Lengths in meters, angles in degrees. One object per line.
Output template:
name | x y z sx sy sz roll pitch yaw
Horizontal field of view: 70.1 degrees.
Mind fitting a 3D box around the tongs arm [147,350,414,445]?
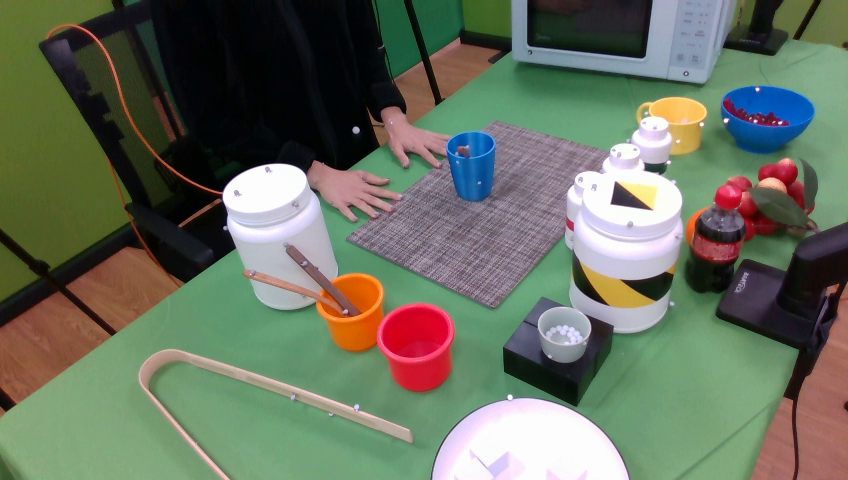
tongs arm | -0.193 0.200 0.757 0.382 0.026 0.051 14 49 24

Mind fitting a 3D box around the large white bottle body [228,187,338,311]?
large white bottle body | -0.207 -0.002 0.884 0.130 0.185 0.130 -4 40 4

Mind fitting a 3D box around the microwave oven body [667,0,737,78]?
microwave oven body | 0.462 -0.552 1.369 0.439 0.261 0.326 15 46 26

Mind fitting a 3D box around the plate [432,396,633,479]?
plate | 0.112 0.261 0.634 0.209 0.038 0.208 -5 40 4

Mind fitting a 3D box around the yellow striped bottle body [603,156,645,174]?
yellow striped bottle body | 0.313 -0.089 0.956 0.063 0.121 0.062 -4 40 4

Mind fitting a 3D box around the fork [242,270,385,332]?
fork | -0.142 0.082 0.802 0.209 0.018 0.028 28 38 -26

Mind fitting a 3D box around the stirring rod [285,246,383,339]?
stirring rod | -0.121 0.071 0.819 0.176 0.006 0.014 44 52 -6

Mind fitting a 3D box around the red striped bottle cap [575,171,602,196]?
red striped bottle cap | 0.242 -0.081 0.876 0.044 0.018 0.044 -5 44 5

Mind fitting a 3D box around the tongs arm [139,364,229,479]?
tongs arm | -0.241 0.254 0.707 0.384 0.028 0.028 27 59 34

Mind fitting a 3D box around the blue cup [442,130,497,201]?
blue cup | 0.084 -0.123 1.041 0.092 0.100 0.092 -4 43 4

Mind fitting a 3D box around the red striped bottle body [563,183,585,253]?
red striped bottle body | 0.246 -0.041 0.910 0.063 0.120 0.062 -2 38 2

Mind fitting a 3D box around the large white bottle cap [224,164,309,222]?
large white bottle cap | -0.216 -0.066 0.830 0.115 0.018 0.114 -4 40 4

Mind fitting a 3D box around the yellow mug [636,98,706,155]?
yellow mug | 0.453 -0.218 1.128 0.100 0.064 0.129 -34 46 -27

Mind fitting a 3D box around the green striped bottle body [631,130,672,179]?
green striped bottle body | 0.375 -0.140 1.007 0.063 0.120 0.063 -5 40 5

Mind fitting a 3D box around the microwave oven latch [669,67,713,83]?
microwave oven latch | 0.556 -0.348 1.262 0.078 0.029 0.030 15 46 26

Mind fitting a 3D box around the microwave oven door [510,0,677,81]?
microwave oven door | 0.354 -0.478 1.290 0.353 0.245 0.039 15 45 25

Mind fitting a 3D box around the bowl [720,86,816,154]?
bowl | 0.605 -0.206 1.081 0.151 0.077 0.150 -5 40 5

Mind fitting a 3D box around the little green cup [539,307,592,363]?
little green cup | 0.168 0.114 0.721 0.061 0.039 0.061 -4 43 4

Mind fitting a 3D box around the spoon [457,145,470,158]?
spoon | 0.068 -0.135 0.972 0.041 0.021 0.194 4 -2 10

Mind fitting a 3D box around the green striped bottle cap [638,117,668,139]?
green striped bottle cap | 0.369 -0.180 0.974 0.044 0.020 0.044 -4 41 4

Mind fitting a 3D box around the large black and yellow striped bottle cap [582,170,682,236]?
large black and yellow striped bottle cap | 0.252 -0.048 0.735 0.115 0.019 0.114 -3 40 3

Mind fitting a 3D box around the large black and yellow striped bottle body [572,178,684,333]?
large black and yellow striped bottle body | 0.262 0.017 0.788 0.131 0.185 0.130 -5 40 4

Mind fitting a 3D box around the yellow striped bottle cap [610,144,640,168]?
yellow striped bottle cap | 0.307 -0.128 0.923 0.044 0.019 0.044 -5 39 5
